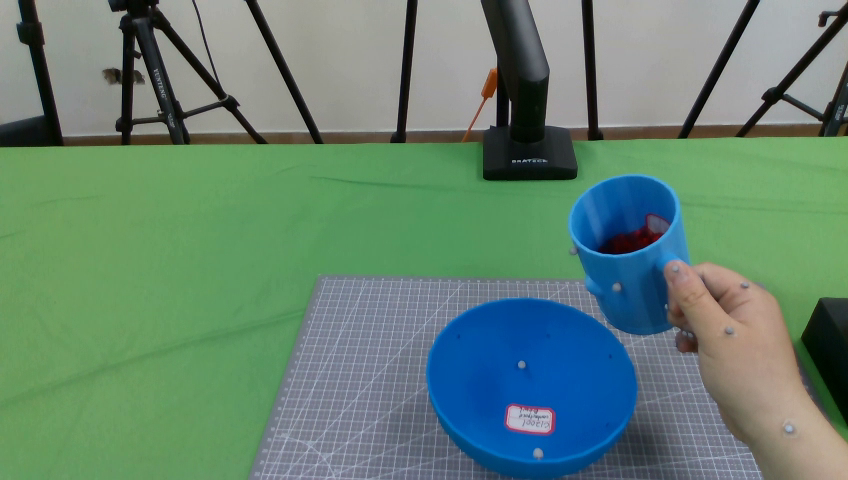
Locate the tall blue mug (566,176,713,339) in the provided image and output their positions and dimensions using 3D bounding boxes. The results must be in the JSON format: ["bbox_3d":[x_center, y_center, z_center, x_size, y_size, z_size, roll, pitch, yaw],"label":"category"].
[{"bbox_3d":[0.171,0.018,0.454,0.106,0.109,0.077,15,62,38],"label":"tall blue mug"}]

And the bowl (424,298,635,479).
[{"bbox_3d":[0.077,0.123,0.459,0.151,0.077,0.150,-2,38,2],"label":"bowl"}]
